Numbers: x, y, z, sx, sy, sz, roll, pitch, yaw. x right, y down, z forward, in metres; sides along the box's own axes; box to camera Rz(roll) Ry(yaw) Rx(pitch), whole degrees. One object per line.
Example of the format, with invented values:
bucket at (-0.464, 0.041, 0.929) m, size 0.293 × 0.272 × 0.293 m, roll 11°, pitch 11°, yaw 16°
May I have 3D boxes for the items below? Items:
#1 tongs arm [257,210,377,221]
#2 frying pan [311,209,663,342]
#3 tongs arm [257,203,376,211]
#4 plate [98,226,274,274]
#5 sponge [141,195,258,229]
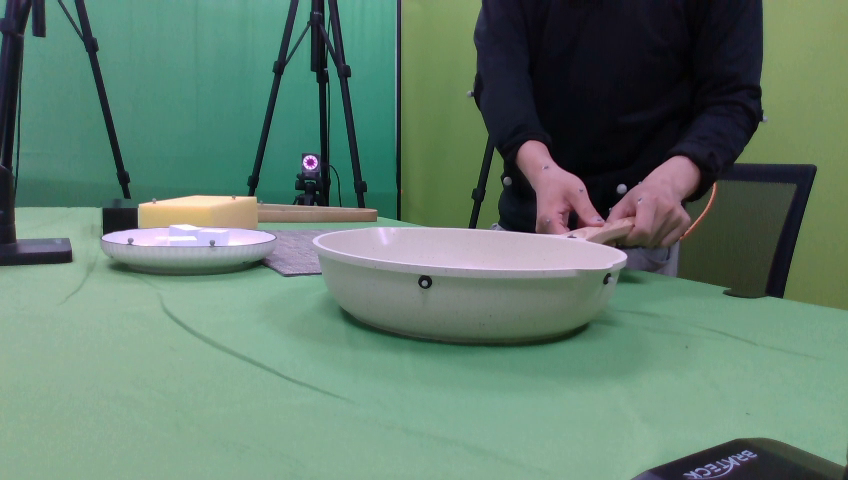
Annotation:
tongs arm at (-0.280, -0.055, 1.355) m, size 0.389 × 0.028 × 0.028 m, roll -1°, pitch 6°, yaw -28°
frying pan at (0.120, 0.011, 0.644) m, size 0.490 × 0.102 × 0.305 m, roll -14°, pitch 16°, yaw -37°
tongs arm at (-0.306, -0.070, 1.430) m, size 0.386 × 0.026 × 0.050 m, roll 2°, pitch 8°, yaw -15°
plate at (-0.301, 0.011, 0.778) m, size 0.208 × 0.039 × 0.207 m, roll 2°, pitch 7°, yaw 0°
sponge at (-0.380, -0.040, 1.047) m, size 0.118 × 0.061 × 0.207 m, roll 1°, pitch 8°, yaw 3°
